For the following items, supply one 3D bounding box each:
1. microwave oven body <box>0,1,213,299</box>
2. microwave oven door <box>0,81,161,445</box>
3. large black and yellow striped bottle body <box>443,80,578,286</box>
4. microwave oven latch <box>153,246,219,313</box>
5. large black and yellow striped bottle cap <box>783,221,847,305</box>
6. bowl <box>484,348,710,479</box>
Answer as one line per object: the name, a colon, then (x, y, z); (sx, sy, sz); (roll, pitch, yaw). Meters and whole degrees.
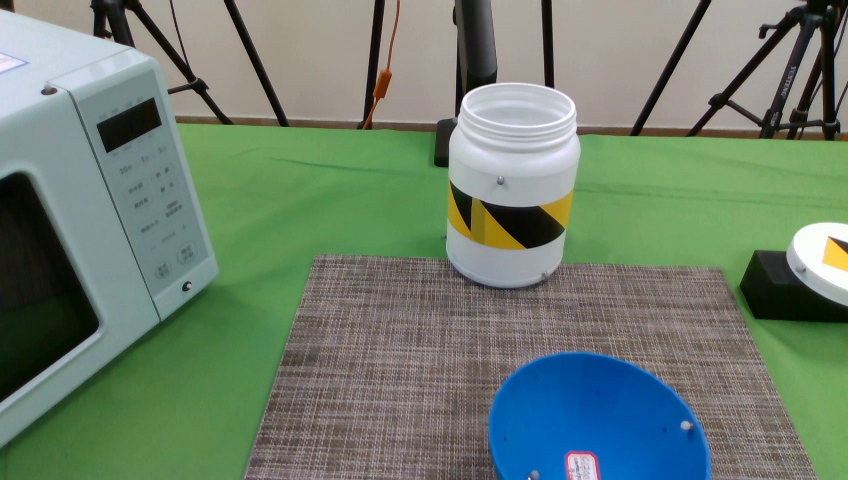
microwave oven body: (-0.460, 0.009, 0.481); (0.324, 0.262, 0.440); (21, 44, 23)
microwave oven door: (-0.356, 0.075, 0.393); (0.039, 0.246, 0.355); (20, 43, 23)
large black and yellow striped bottle body: (0.087, -0.059, 0.630); (0.131, 0.185, 0.129); (1, 36, 0)
microwave oven latch: (-0.242, 0.036, 0.604); (0.030, 0.030, 0.079); (23, 45, 24)
large black and yellow striped bottle cap: (0.416, 0.022, 0.590); (0.115, 0.019, 0.114); (-1, 39, 1)
bowl: (0.117, 0.161, 0.442); (0.151, 0.077, 0.150); (0, 39, 0)
